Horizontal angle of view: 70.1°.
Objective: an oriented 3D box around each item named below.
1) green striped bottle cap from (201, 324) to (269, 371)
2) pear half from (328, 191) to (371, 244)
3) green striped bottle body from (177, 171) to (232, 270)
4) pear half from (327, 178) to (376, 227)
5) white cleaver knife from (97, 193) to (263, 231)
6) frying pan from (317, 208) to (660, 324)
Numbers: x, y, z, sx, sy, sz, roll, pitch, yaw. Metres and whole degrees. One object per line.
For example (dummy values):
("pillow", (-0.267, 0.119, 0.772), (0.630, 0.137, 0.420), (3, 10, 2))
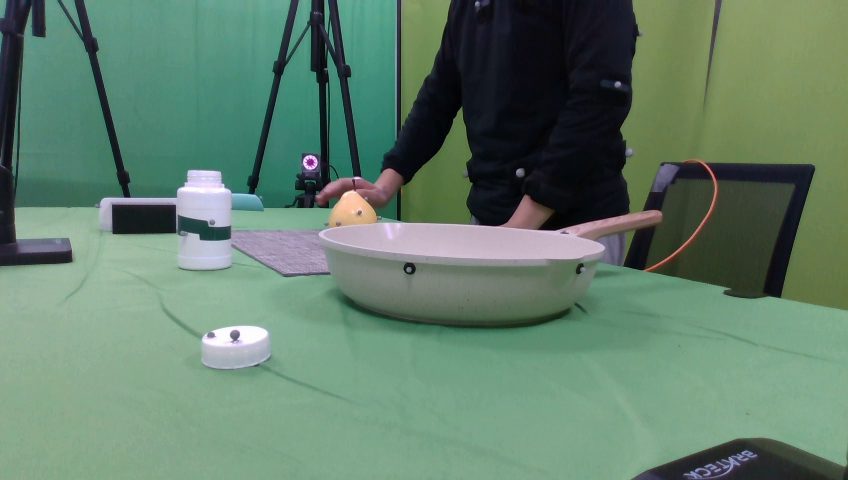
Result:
("green striped bottle cap", (-0.129, 0.073, 0.415), (0.044, 0.020, 0.044), (2, 8, 0))
("pear half", (-0.124, -0.037, 0.976), (0.071, 0.088, 0.031), (-6, 12, -26))
("green striped bottle body", (-0.273, -0.026, 0.752), (0.063, 0.119, 0.063), (2, 7, 0))
("pear half", (-0.109, -0.042, 0.942), (0.077, 0.110, 0.055), (-6, 11, -25))
("white cleaver knife", (-0.444, -0.053, 1.121), (0.288, 0.066, 0.021), (-4, 16, -27))
("frying pan", (0.121, 0.006, 0.691), (0.490, 0.102, 0.305), (-13, 15, -33))
